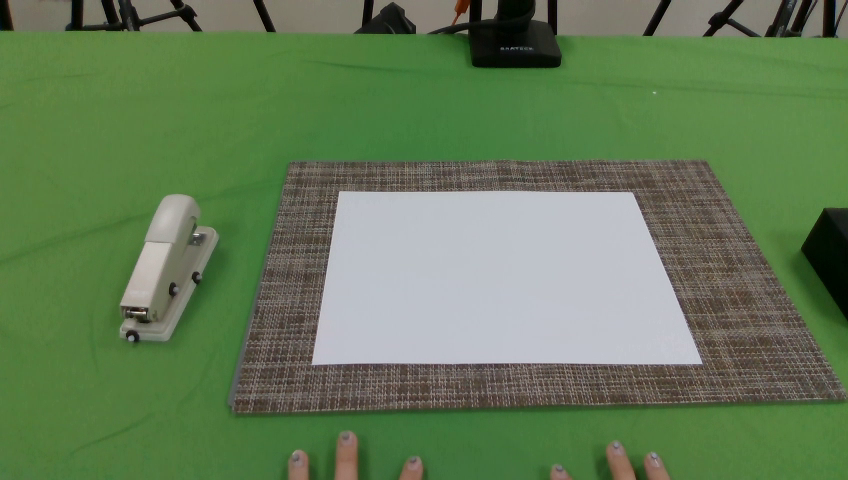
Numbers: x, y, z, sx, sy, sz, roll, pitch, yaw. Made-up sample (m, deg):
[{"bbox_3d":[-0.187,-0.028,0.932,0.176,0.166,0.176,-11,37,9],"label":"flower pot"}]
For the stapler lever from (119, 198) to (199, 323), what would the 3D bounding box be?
[{"bbox_3d":[-0.215,0.013,0.495,0.027,0.040,0.117,2,45,4],"label":"stapler lever"}]

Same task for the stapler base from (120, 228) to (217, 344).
[{"bbox_3d":[-0.215,0.030,0.514,0.041,0.024,0.129,2,45,4],"label":"stapler base"}]
